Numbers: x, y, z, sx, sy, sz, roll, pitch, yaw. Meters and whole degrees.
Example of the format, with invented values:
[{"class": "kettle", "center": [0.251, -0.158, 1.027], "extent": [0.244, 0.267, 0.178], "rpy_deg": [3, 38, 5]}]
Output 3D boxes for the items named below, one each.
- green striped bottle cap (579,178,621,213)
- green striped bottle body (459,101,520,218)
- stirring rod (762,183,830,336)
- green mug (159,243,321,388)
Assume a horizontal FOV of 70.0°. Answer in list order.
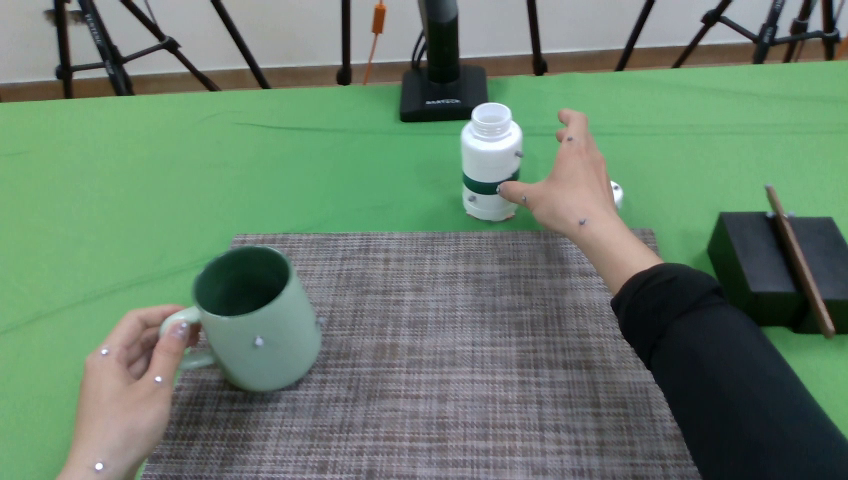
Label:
[{"class": "green striped bottle cap", "center": [0.193, -0.049, 0.667], "extent": [0.044, 0.020, 0.044], "rpy_deg": [-2, 41, 2]}, {"class": "green striped bottle body", "center": [0.069, -0.086, 0.641], "extent": [0.063, 0.120, 0.062], "rpy_deg": [-2, 45, 3]}, {"class": "stirring rod", "center": [0.321, 0.010, 0.527], "extent": [0.006, 0.014, 0.174], "rpy_deg": [-1, 45, 11]}, {"class": "green mug", "center": [-0.156, 0.071, 0.513], "extent": [0.125, 0.106, 0.091], "rpy_deg": [-20, 48, -14]}]
